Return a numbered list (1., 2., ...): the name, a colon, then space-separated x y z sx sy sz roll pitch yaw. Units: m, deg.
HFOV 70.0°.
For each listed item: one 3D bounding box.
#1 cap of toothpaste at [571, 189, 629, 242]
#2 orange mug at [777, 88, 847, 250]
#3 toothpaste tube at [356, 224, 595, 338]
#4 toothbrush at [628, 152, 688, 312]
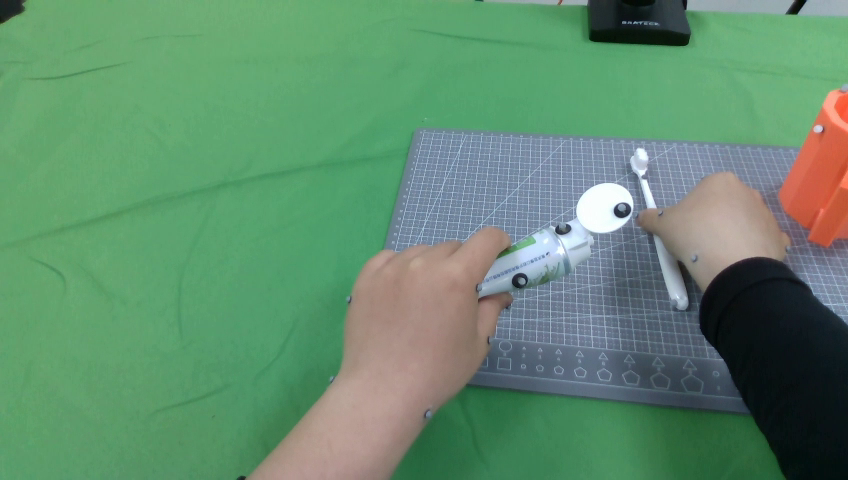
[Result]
1. cap of toothpaste: 0.111 -0.015 0.381 0.037 0.011 0.037 -15 56 25
2. orange mug: 0.345 -0.052 0.489 0.083 0.102 0.126 26 48 26
3. toothpaste tube: 0.035 0.032 0.398 0.165 0.055 0.034 -24 74 1
4. toothbrush: 0.198 -0.014 0.516 0.014 0.017 0.180 8 47 -6
